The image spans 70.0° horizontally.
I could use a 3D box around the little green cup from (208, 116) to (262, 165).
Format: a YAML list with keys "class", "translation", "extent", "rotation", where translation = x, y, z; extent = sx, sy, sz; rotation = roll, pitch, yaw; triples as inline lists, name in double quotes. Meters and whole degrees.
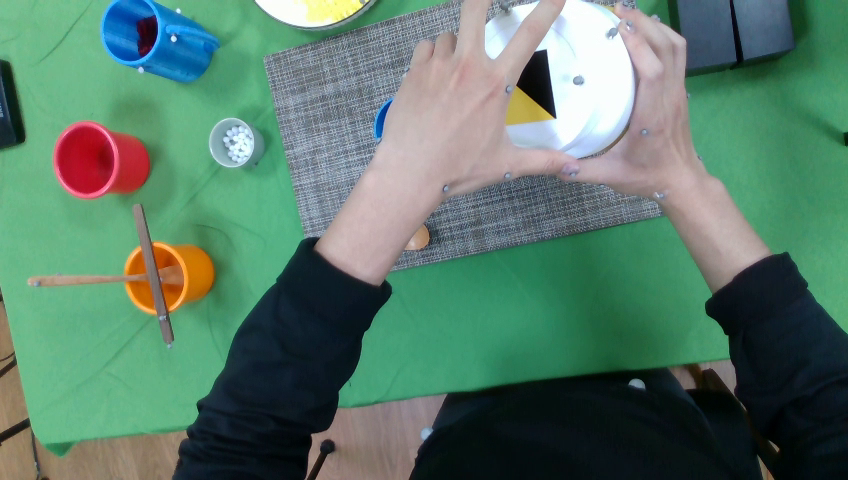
- class: "little green cup"
  translation: [-0.239, -0.125, 0.774]
  extent: [0.061, 0.038, 0.061]
  rotation: [1, 95, 12]

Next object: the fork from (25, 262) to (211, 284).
- class: "fork"
  translation: [-0.377, 0.044, 0.760]
  extent: [0.208, 0.018, 0.028]
  rotation: [-2, 102, -32]

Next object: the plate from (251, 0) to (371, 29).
- class: "plate"
  translation: [-0.132, -0.360, 0.733]
  extent: [0.209, 0.038, 0.209]
  rotation: [1, 95, 11]

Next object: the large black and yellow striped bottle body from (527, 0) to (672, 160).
- class: "large black and yellow striped bottle body"
  translation: [0.129, -0.142, 0.532]
  extent: [0.130, 0.184, 0.131]
  rotation: [12, 111, 34]

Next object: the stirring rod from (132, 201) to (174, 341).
- class: "stirring rod"
  translation: [-0.336, 0.038, 0.749]
  extent: [0.014, 0.006, 0.176]
  rotation: [-12, 92, 13]

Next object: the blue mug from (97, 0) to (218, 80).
- class: "blue mug"
  translation: [-0.315, -0.248, 0.746]
  extent: [0.116, 0.106, 0.082]
  rotation: [2, 95, 11]

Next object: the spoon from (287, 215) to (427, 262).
- class: "spoon"
  translation: [-0.087, 0.004, 0.758]
  extent: [0.193, 0.021, 0.042]
  rotation: [-13, 113, 13]

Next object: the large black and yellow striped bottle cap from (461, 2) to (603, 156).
- class: "large black and yellow striped bottle cap"
  translation: [0.079, -0.122, 0.466]
  extent: [0.114, 0.019, 0.115]
  rotation: [13, 113, 35]

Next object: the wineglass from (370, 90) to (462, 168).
- class: "wineglass"
  translation: [-0.003, -0.115, 0.654]
  extent: [0.073, 0.172, 0.074]
  rotation: [1, 94, 12]
